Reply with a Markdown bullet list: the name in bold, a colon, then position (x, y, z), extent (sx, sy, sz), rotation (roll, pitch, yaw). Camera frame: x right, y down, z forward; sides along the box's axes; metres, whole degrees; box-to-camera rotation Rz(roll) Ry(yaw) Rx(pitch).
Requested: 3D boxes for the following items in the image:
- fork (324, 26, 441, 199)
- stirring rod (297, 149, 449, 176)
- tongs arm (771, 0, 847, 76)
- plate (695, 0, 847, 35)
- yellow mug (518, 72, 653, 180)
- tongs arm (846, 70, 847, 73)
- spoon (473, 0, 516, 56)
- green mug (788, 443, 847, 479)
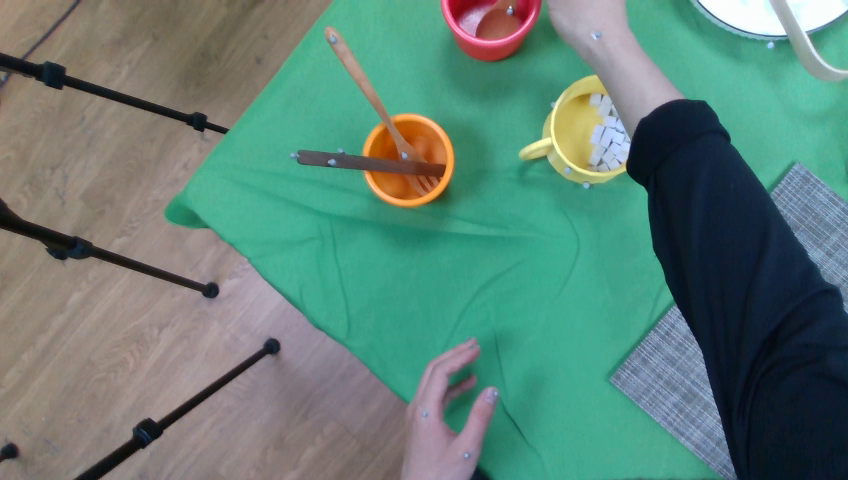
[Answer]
- **fork**: position (-0.037, -0.118, 0.593), extent (0.028, 0.018, 0.209), rotation (-34, 130, 1)
- **stirring rod**: position (-0.044, -0.076, 0.600), extent (0.177, 0.006, 0.014), rotation (0, 91, -37)
- **tongs arm**: position (0.319, -0.333, 0.590), extent (0.051, 0.026, 0.384), rotation (-21, 86, 1)
- **plate**: position (0.358, -0.310, 0.619), extent (0.207, 0.039, 0.207), rotation (0, 90, 5)
- **yellow mug**: position (0.160, -0.109, 0.621), extent (0.131, 0.064, 0.100), rotation (-17, 89, 5)
- **tongs arm**: position (0.399, -0.356, 0.586), extent (0.028, 0.028, 0.387), rotation (-7, 87, -1)
- **spoon**: position (0.094, -0.258, 0.579), extent (0.042, 0.194, 0.021), rotation (19, 53, -7)
- **green mug**: position (0.428, 0.241, 0.577), extent (0.125, 0.105, 0.092), rotation (-33, 86, 4)
